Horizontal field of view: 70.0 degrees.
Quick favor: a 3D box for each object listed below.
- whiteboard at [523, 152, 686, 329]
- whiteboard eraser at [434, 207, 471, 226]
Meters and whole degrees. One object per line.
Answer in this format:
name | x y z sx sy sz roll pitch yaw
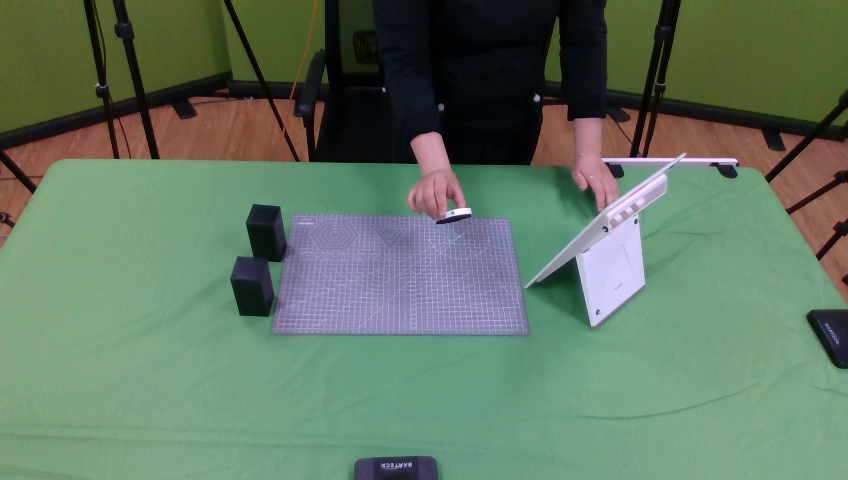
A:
whiteboard | 0.346 0.024 1.047 0.217 0.306 0.143 -30 74 -29
whiteboard eraser | 0.050 -0.043 1.084 0.041 0.101 0.019 -8 86 -22
